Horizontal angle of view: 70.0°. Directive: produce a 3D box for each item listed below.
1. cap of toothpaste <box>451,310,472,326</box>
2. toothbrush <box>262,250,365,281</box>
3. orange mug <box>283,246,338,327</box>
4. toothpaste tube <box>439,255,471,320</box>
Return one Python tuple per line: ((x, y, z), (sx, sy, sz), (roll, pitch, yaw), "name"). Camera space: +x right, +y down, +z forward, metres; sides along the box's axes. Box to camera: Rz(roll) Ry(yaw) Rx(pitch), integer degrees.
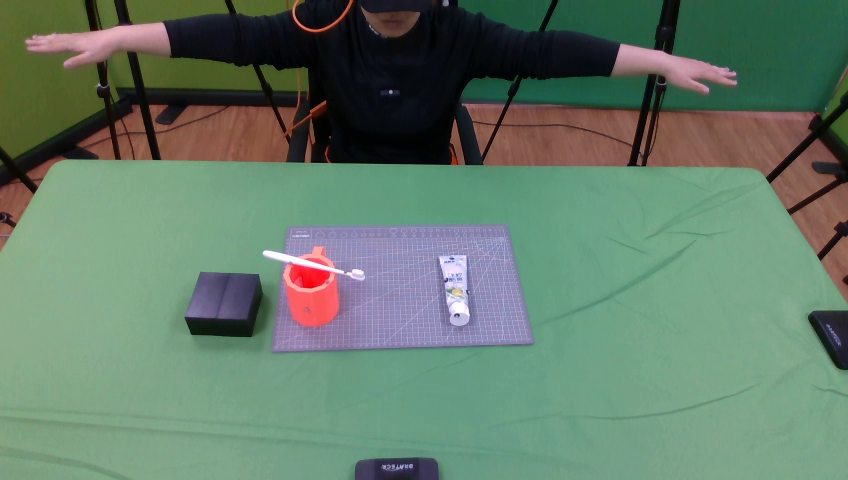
((0.065, 0.134, 1.054), (0.037, 0.037, 0.011), (1, 39, -2), "cap of toothpaste")
((-0.186, 0.040, 1.015), (0.182, 0.017, 0.014), (13, 54, 8), "toothbrush")
((-0.193, 0.073, 1.056), (0.083, 0.101, 0.125), (5, 50, 1), "orange mug")
((0.062, 0.084, 1.113), (0.055, 0.035, 0.164), (2, 41, -7), "toothpaste tube")
